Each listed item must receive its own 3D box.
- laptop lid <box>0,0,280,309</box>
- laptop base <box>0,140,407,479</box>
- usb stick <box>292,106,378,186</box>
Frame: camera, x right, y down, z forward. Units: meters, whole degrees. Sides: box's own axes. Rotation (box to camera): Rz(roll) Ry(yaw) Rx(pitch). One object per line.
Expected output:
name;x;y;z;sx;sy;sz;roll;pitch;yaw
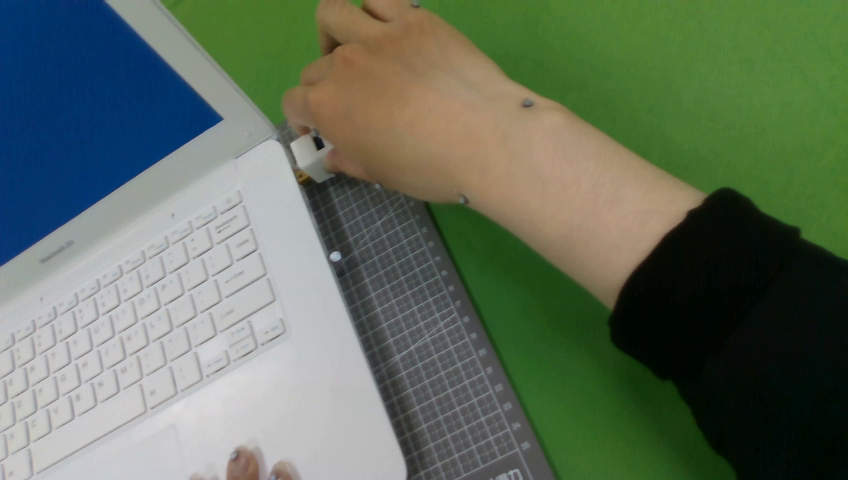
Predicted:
laptop lid;-0.294;-0.049;0.348;0.356;0.244;0.013;-31;45;10
laptop base;-0.197;0.113;0.379;0.354;0.023;0.233;-30;66;9
usb stick;-0.060;-0.054;0.371;0.059;0.027;0.021;-33;61;13
